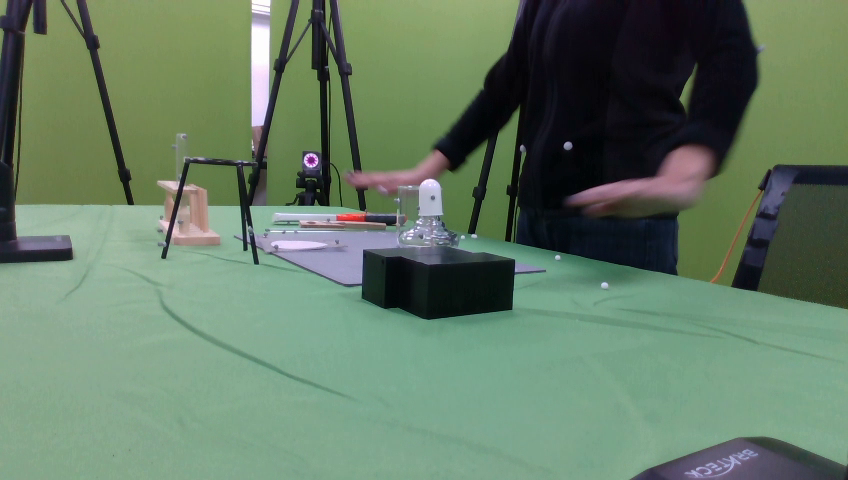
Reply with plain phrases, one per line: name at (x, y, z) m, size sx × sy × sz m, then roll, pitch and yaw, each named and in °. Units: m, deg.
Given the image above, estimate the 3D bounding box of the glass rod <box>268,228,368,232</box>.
glass rod at (-0.193, -0.018, 1.128) m, size 0.201 × 0.008 × 0.008 m, roll 0°, pitch 7°, yaw -35°

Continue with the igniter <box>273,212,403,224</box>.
igniter at (-0.179, -0.048, 1.290) m, size 0.278 × 0.025 × 0.057 m, roll -1°, pitch -2°, yaw -24°

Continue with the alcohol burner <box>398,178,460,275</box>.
alcohol burner at (0.007, -0.017, 0.751) m, size 0.078 × 0.119 × 0.078 m, roll 3°, pitch 9°, yaw 0°

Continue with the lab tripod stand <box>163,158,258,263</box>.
lab tripod stand at (-0.265, -0.041, 0.802) m, size 0.148 × 0.131 × 0.148 m, roll 4°, pitch 6°, yaw 0°

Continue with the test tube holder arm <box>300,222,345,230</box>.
test tube holder arm at (-0.196, -0.027, 1.170) m, size 0.088 × 0.015 × 0.010 m, roll -1°, pitch 43°, yaw -29°

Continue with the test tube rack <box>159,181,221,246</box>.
test tube rack at (-0.395, -0.050, 1.010) m, size 0.067 × 0.085 × 0.241 m, roll -2°, pitch 8°, yaw -28°

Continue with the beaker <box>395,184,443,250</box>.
beaker at (-0.007, -0.037, 0.965) m, size 0.074 × 0.100 × 0.083 m, roll -4°, pitch 11°, yaw -40°

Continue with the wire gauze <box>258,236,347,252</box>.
wire gauze at (-0.189, 0.005, 0.931) m, size 0.122 × 0.011 × 0.124 m, roll 1°, pitch 7°, yaw -21°

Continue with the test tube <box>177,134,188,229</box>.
test tube at (-0.374, -0.089, 0.938) m, size 0.017 × 0.150 × 0.017 m, roll 2°, pitch 4°, yaw 0°

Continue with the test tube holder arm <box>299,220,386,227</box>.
test tube holder arm at (-0.158, -0.032, 1.196) m, size 0.179 × 0.015 × 0.013 m, roll -2°, pitch 43°, yaw -29°

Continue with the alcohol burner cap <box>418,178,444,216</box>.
alcohol burner cap at (0.007, -0.053, 0.745) m, size 0.034 × 0.048 × 0.034 m, roll -3°, pitch 6°, yaw 1°
